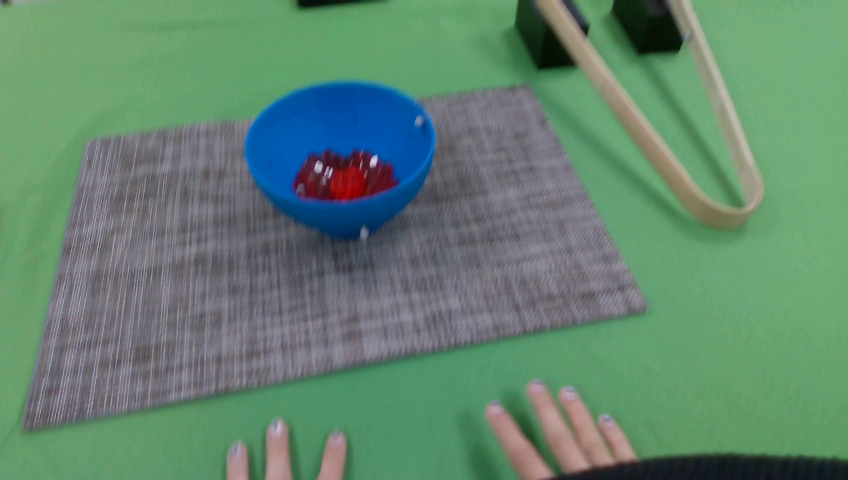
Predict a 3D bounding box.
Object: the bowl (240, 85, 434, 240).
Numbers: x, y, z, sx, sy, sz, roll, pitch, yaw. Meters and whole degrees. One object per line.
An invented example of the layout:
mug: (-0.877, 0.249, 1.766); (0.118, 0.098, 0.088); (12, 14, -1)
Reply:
bowl: (-0.068, -0.053, 0.506); (0.151, 0.077, 0.150); (0, 49, 0)

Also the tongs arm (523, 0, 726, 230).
tongs arm: (0.168, -0.166, 0.601); (0.028, 0.028, 0.384); (-16, 62, -18)

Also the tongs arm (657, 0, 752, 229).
tongs arm: (0.255, -0.181, 0.614); (0.051, 0.027, 0.381); (-4, 60, -7)
